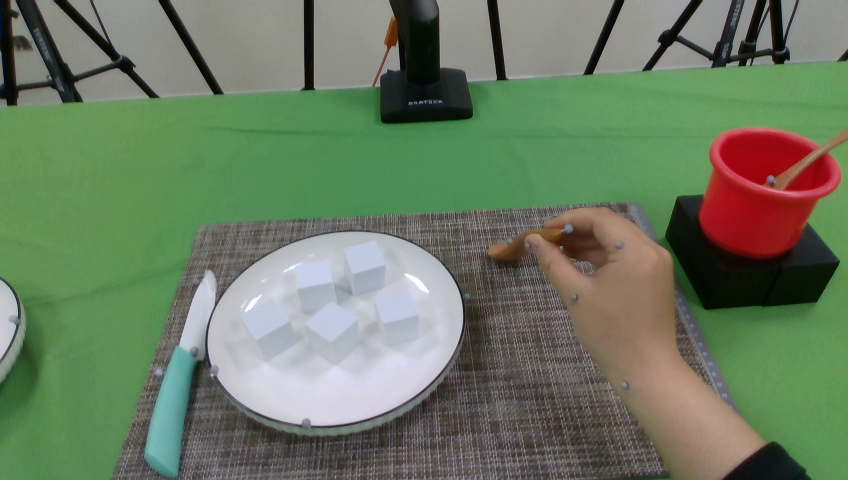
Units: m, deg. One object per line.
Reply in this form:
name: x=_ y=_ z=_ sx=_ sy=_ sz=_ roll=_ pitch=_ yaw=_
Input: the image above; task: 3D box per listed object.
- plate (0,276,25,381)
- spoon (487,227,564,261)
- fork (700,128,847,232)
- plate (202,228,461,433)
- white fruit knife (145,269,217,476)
plate: x=-0.431 y=0.103 z=0.486 sx=0.209 sy=0.038 sz=0.207 roll=-1 pitch=42 yaw=1
spoon: x=0.082 y=0.001 z=0.499 sx=0.041 sy=0.194 sz=0.021 roll=-13 pitch=84 yaw=-3
fork: x=0.323 y=-0.068 z=0.492 sx=0.207 sy=0.019 sz=0.028 roll=-39 pitch=29 yaw=23
plate: x=-0.073 y=0.071 z=0.504 sx=0.208 sy=0.039 sz=0.205 roll=-1 pitch=43 yaw=1
white fruit knife: x=-0.195 y=0.095 z=0.500 sx=0.027 sy=0.016 sz=0.205 roll=18 pitch=36 yaw=-21
